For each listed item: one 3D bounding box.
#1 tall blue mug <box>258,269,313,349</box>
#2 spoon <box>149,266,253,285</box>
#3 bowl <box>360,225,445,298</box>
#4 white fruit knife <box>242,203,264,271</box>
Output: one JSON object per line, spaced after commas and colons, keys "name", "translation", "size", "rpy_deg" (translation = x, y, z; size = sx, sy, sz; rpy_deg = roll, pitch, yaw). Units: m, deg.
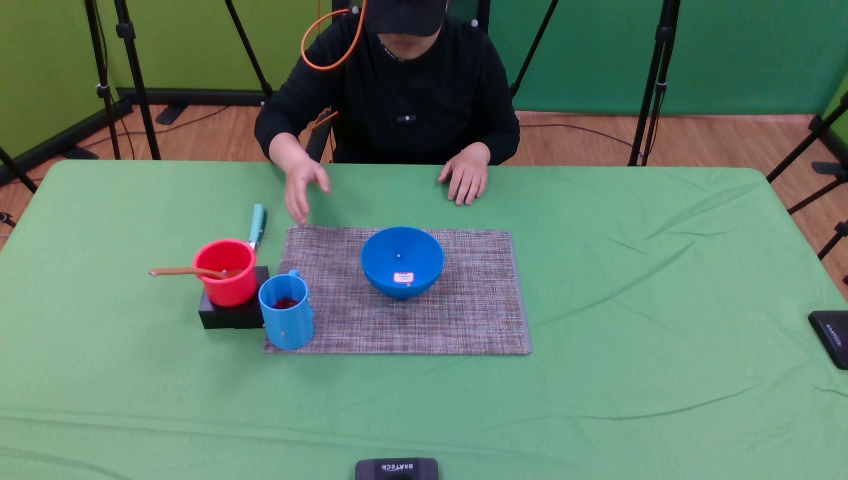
{"name": "tall blue mug", "translation": [-0.232, 0.108, 1.010], "size": [0.078, 0.108, 0.106], "rpy_deg": [-15, 49, -17]}
{"name": "spoon", "translation": [-0.351, 0.052, 0.968], "size": [0.041, 0.021, 0.194], "rpy_deg": [42, 13, 28]}
{"name": "bowl", "translation": [-0.040, 0.053, 1.099], "size": [0.151, 0.077, 0.150], "rpy_deg": [2, 46, -2]}
{"name": "white fruit knife", "translation": [-0.334, 0.001, 1.178], "size": [0.027, 0.016, 0.206], "rpy_deg": [-18, 46, 17]}
